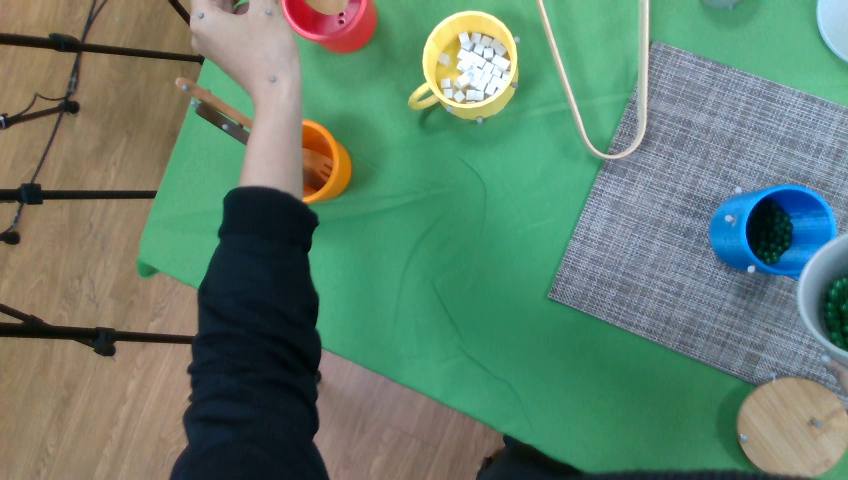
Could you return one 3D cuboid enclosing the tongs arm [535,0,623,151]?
[{"bbox_3d":[0.134,-0.274,0.638,0.051,0.026,0.385,-17,96,6],"label":"tongs arm"}]

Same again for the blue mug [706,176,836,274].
[{"bbox_3d":[0.346,-0.005,0.593,0.082,0.106,0.116,-42,85,8],"label":"blue mug"}]

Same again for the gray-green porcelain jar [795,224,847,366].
[{"bbox_3d":[0.366,0.055,0.474,0.105,0.128,0.105,-24,52,35],"label":"gray-green porcelain jar"}]

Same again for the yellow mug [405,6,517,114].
[{"bbox_3d":[0.037,-0.186,0.663,0.131,0.064,0.100,-30,87,10],"label":"yellow mug"}]

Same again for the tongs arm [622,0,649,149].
[{"bbox_3d":[0.216,-0.291,0.627,0.028,0.027,0.388,-3,98,1],"label":"tongs arm"}]

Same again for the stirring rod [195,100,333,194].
[{"bbox_3d":[-0.169,-0.097,0.659,0.005,0.178,0.014,18,78,52],"label":"stirring rod"}]

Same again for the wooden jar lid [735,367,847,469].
[{"bbox_3d":[0.384,0.186,0.638,0.108,0.021,0.108,1,94,12],"label":"wooden jar lid"}]

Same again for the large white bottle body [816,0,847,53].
[{"bbox_3d":[0.452,-0.246,0.532,0.130,0.185,0.130,0,91,10],"label":"large white bottle body"}]

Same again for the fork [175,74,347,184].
[{"bbox_3d":[-0.170,-0.117,0.656,0.209,0.018,0.028,30,98,-36],"label":"fork"}]

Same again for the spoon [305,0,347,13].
[{"bbox_3d":[-0.142,-0.248,0.550,0.021,0.195,0.042,13,101,34],"label":"spoon"}]
